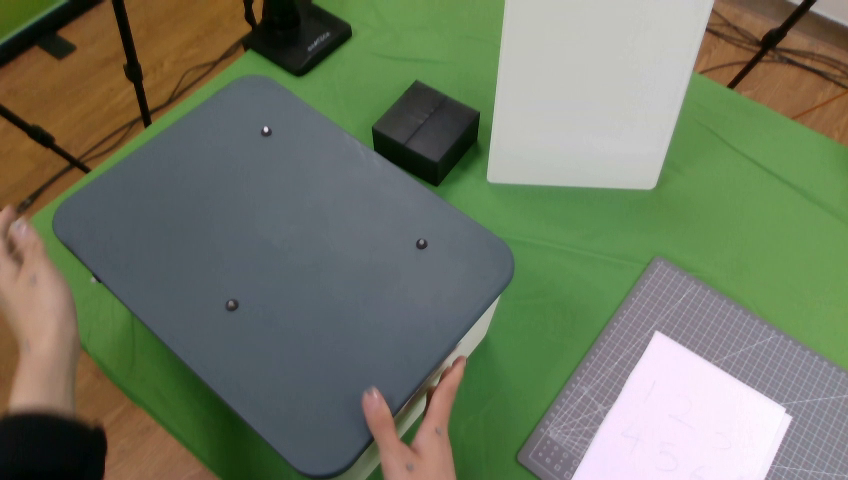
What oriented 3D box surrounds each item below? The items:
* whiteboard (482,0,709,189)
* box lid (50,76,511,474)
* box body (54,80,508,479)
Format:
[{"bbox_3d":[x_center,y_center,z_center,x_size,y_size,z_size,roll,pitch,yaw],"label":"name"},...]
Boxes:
[{"bbox_3d":[0.190,-0.231,0.735,0.217,0.308,0.142,3,40,2],"label":"whiteboard"},{"bbox_3d":[-0.133,-0.001,0.556,0.369,0.015,0.263,36,65,18],"label":"box lid"},{"bbox_3d":[-0.132,0.039,0.620,0.362,0.161,0.253,35,65,18],"label":"box body"}]
